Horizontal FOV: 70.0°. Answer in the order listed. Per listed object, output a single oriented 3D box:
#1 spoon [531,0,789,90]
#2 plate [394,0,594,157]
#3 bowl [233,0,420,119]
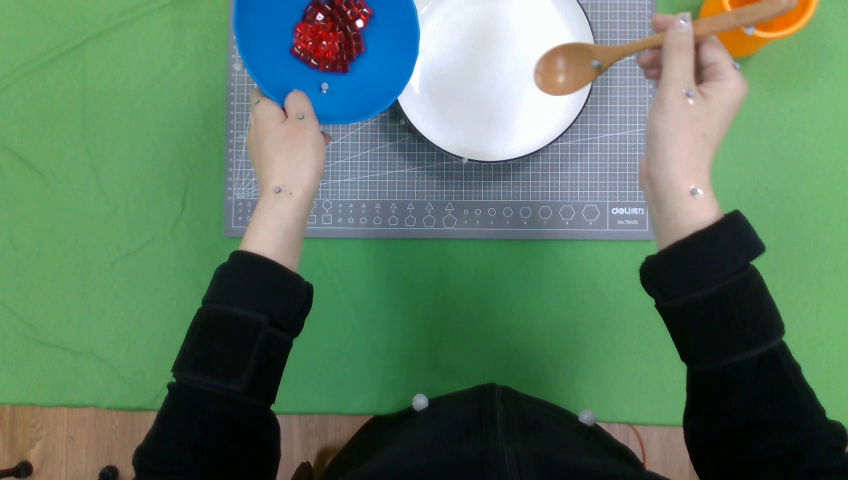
[{"bbox_3d":[0.158,-0.145,0.437,0.022,0.192,0.041,-7,93,-40],"label":"spoon"},{"bbox_3d":[0.067,-0.186,0.618,0.209,0.038,0.209,0,88,1],"label":"plate"},{"bbox_3d":[-0.086,-0.178,0.517,0.152,0.076,0.151,-3,100,-19],"label":"bowl"}]
